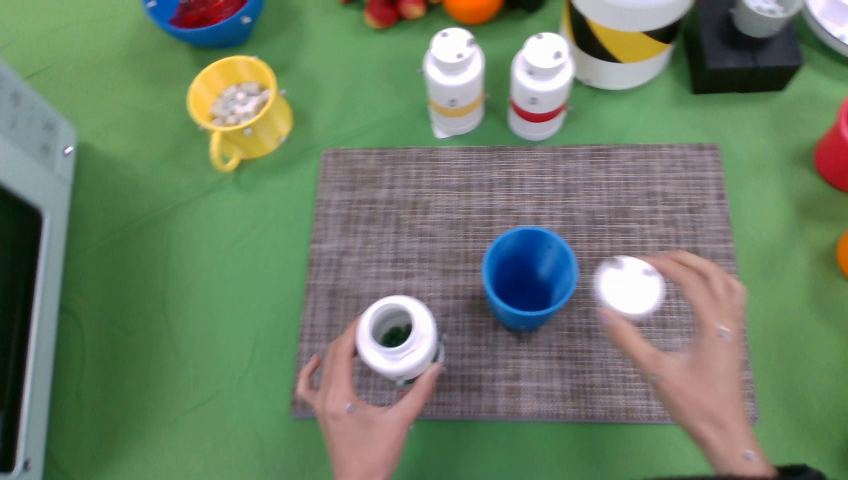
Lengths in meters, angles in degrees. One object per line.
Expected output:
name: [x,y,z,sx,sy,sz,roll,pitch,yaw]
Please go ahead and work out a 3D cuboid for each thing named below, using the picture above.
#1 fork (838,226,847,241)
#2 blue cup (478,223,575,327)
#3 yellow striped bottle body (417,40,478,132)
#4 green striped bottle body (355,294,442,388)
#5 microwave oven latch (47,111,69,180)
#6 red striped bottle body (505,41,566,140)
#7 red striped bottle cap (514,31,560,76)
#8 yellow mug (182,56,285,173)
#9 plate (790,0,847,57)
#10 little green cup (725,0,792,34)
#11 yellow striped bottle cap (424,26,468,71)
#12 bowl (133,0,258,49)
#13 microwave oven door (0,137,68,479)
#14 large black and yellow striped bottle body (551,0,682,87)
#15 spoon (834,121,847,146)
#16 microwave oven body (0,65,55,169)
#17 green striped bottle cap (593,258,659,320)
fork: [0.472,0.019,0.534,0.028,0.019,0.205,-38,26,-9]
blue cup: [0.093,0.043,0.580,0.092,0.101,0.092,-1,68,3]
yellow striped bottle body: [0.027,-0.176,0.665,0.063,0.121,0.062,-2,68,5]
green striped bottle body: [-0.020,0.084,0.503,0.063,0.120,0.062,-2,68,6]
microwave oven latch: [-0.434,-0.108,0.704,0.030,0.030,0.078,-7,69,2]
red striped bottle body: [0.120,-0.166,0.653,0.063,0.120,0.062,-4,66,8]
red striped bottle cap: [0.113,-0.186,0.605,0.044,0.018,0.044,0,67,1]
yellow mug: [-0.223,-0.140,0.702,0.100,0.064,0.130,9,70,8]
plate: [0.530,-0.287,0.708,0.209,0.038,0.207,-2,69,4]
little green cup: [0.360,-0.257,0.657,0.061,0.039,0.061,-1,67,3]
yellow striped bottle cap: [0.022,-0.195,0.617,0.044,0.019,0.044,-1,70,4]
bowl: [-0.273,-0.296,0.761,0.151,0.077,0.150,-1,69,4]
microwave oven door: [-0.415,0.056,0.529,0.039,0.245,0.353,-9,68,2]
large black and yellow striped bottle body: [0.210,-0.269,0.651,0.131,0.185,0.130,-2,68,5]
spoon: [0.422,-0.090,0.584,0.041,0.194,0.022,32,120,16]
microwave oven body: [-0.564,0.042,0.553,0.326,0.262,0.438,-9,69,1]
green striped bottle cap: [0.146,0.035,0.439,0.044,0.020,0.044,3,53,-4]
